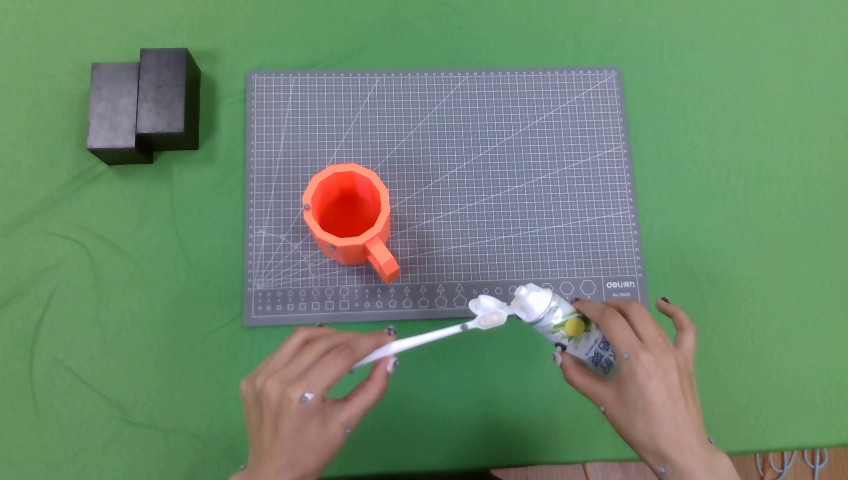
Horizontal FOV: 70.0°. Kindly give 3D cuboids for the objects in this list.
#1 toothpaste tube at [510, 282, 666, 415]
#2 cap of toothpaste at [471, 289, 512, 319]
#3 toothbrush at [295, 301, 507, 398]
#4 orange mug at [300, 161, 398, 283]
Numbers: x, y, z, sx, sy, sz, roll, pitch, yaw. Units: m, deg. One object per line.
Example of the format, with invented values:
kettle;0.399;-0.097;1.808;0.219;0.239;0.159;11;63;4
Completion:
toothpaste tube;0.140;0.090;0.528;0.166;0.034;0.055;36;90;-13
cap of toothpaste;0.058;0.054;0.516;0.037;0.037;0.011;20;115;1
toothbrush;-0.021;0.088;0.476;0.182;0.014;0.016;-23;69;9
orange mug;-0.070;-0.012;0.635;0.083;0.101;0.125;-36;77;-10
